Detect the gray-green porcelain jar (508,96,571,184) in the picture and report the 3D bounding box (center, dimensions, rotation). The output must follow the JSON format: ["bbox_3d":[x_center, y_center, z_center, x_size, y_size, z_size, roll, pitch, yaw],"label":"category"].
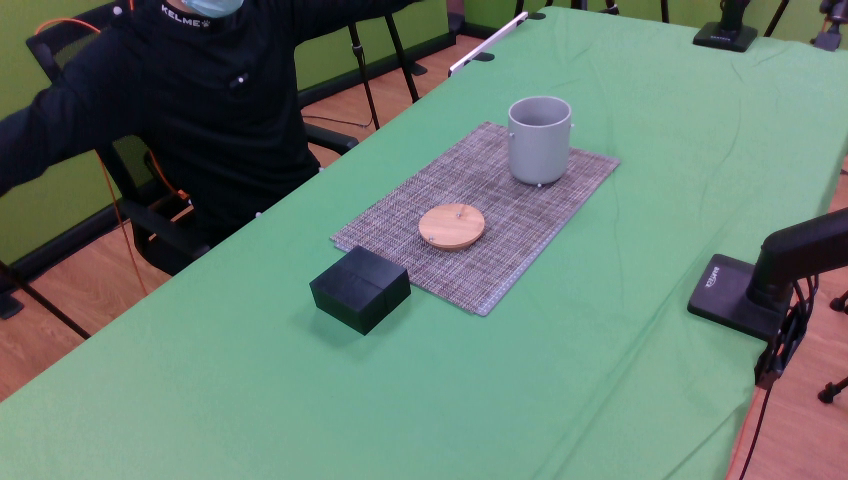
[{"bbox_3d":[0.199,-0.169,1.051,0.106,0.127,0.105,-4,41,4],"label":"gray-green porcelain jar"}]

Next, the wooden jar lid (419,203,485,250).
[{"bbox_3d":[0.046,-0.021,0.983,0.108,0.021,0.108,-5,41,5],"label":"wooden jar lid"}]
